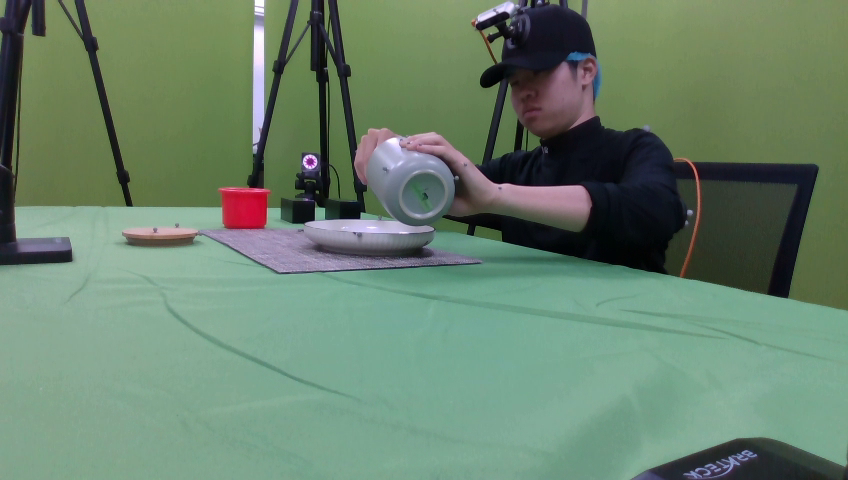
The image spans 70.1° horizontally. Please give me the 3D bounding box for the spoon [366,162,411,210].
[{"bbox_3d":[-0.066,-0.090,0.963,0.042,0.021,0.193,5,20,-25],"label":"spoon"}]

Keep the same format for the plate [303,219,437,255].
[{"bbox_3d":[-0.084,-0.005,0.952,0.208,0.039,0.207,3,7,0],"label":"plate"}]

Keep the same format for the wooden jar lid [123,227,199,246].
[{"bbox_3d":[-0.408,-0.006,0.942,0.108,0.020,0.108,3,6,0],"label":"wooden jar lid"}]

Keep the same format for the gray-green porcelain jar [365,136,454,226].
[{"bbox_3d":[-0.021,-0.084,0.869,0.106,0.106,0.126,0,22,-20],"label":"gray-green porcelain jar"}]
